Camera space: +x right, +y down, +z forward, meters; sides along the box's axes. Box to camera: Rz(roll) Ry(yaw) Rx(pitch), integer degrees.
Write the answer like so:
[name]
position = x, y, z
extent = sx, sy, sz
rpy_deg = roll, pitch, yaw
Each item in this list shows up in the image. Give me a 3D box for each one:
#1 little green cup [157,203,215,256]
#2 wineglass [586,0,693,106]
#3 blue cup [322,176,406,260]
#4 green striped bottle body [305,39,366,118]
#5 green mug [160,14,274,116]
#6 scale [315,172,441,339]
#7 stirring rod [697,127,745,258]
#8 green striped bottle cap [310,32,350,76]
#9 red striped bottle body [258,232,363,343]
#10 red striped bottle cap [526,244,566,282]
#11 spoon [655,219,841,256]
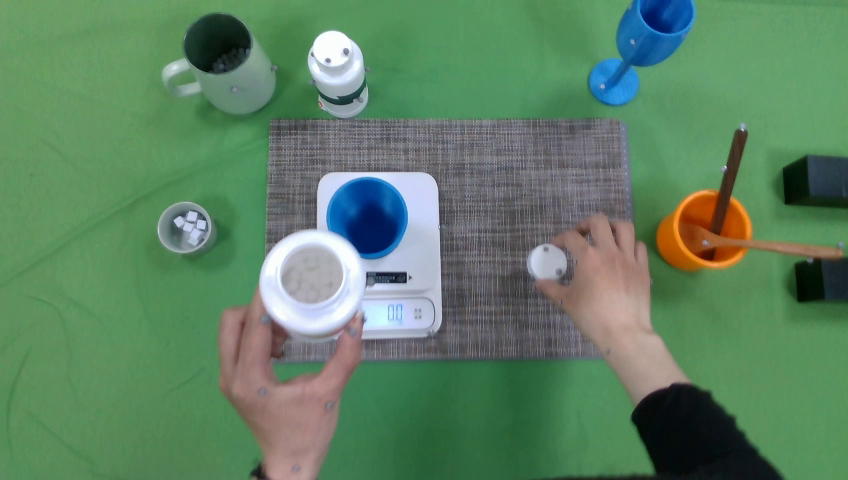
[little green cup]
position = -0.281, -0.010, 0.723
extent = 0.061, 0.039, 0.061
rpy_deg = 1, 79, -3
[wineglass]
position = 0.247, -0.223, 0.713
extent = 0.074, 0.173, 0.073
rpy_deg = 0, 79, -1
[blue cup]
position = -0.062, -0.016, 0.666
extent = 0.093, 0.100, 0.092
rpy_deg = 0, 82, -2
[green striped bottle body]
position = -0.105, -0.196, 0.722
extent = 0.063, 0.119, 0.063
rpy_deg = 0, 79, -1
[green mug]
position = -0.250, -0.201, 0.725
extent = 0.125, 0.105, 0.092
rpy_deg = -22, 81, -5
[scale]
position = -0.057, 0.016, 0.727
extent = 0.149, 0.031, 0.200
rpy_deg = -1, 80, -2
[stirring rod]
position = 0.340, -0.049, 0.698
extent = 0.014, 0.178, 0.006
rpy_deg = 6, 39, 12
[green striped bottle cap]
position = -0.104, -0.207, 0.671
extent = 0.044, 0.020, 0.044
rpy_deg = 1, 78, -2
[red striped bottle body]
position = -0.073, 0.033, 0.394
extent = 0.063, 0.120, 0.062
rpy_deg = 2, 77, -8
[red striped bottle cap]
position = 0.142, 0.027, 0.702
extent = 0.044, 0.018, 0.044
rpy_deg = 0, 83, -2
[spoon]
position = 0.360, 0.003, 0.690
extent = 0.022, 0.192, 0.041
rpy_deg = 16, 85, -43
